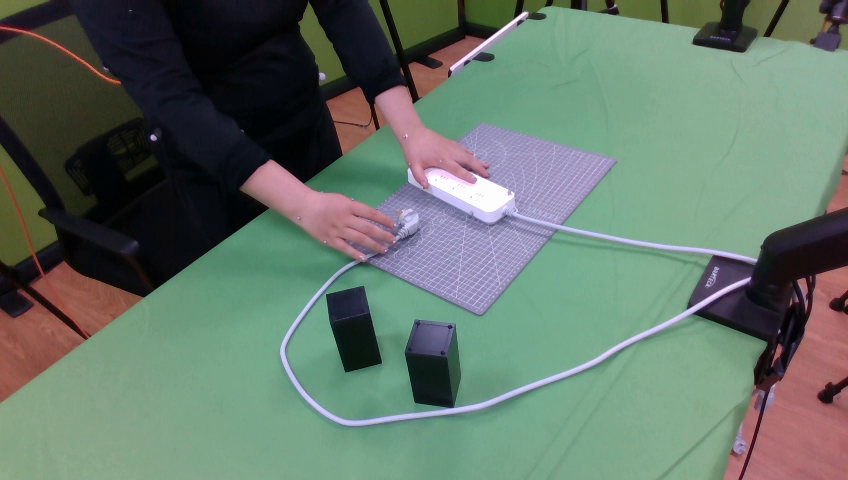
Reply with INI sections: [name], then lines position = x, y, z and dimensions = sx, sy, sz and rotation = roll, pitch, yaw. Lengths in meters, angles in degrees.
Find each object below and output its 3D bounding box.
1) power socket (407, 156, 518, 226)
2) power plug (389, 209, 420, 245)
[power socket]
position = 0.061, -0.089, 1.054
dimensions = 0.072, 0.033, 0.225
rotation = -36, 48, -28
[power plug]
position = -0.039, -0.028, 0.988
dimensions = 0.073, 0.035, 0.052
rotation = -23, 43, -30
